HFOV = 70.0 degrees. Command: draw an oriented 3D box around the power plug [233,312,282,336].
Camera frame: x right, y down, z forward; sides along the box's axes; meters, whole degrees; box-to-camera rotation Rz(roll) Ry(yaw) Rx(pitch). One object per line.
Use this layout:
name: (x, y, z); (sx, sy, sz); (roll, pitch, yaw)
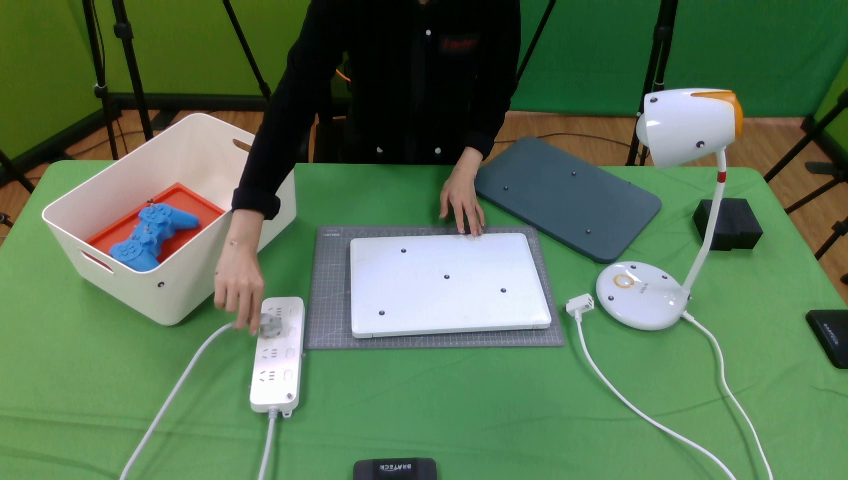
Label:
power plug: (-0.268, 0.135, 0.990); (0.072, 0.053, 0.035); (12, 50, 0)

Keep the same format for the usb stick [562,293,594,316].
usb stick: (0.275, 0.118, 1.088); (0.021, 0.059, 0.027); (39, 44, -28)

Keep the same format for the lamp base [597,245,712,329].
lamp base: (0.418, 0.051, 1.071); (0.179, 0.181, 0.160); (22, 49, 13)

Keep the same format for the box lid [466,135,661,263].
box lid: (0.306, -0.102, 1.327); (0.370, 0.015, 0.263); (32, 52, 25)

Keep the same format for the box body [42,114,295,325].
box body: (-0.437, -0.046, 1.110); (0.253, 0.161, 0.363); (24, 49, 19)

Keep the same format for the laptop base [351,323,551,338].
laptop base: (0.040, 0.080, 1.125); (0.355, 0.023, 0.234); (-2, 43, -6)

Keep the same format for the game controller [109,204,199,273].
game controller: (-0.467, -0.005, 1.044); (0.097, 0.052, 0.154); (8, 45, 10)

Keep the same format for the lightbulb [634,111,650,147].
lightbulb: (0.348, -0.163, 0.852); (0.059, 0.060, 0.107); (-36, 19, -32)

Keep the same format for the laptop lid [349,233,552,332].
laptop lid: (0.040, 0.070, 1.119); (0.357, 0.013, 0.240); (-1, 44, -5)

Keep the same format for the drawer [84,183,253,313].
drawer: (-0.457, 0.009, 1.100); (0.194, 0.073, 0.211); (29, 50, 21)

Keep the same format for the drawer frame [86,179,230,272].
drawer frame: (-0.453, 0.010, 1.100); (0.201, 0.083, 0.213); (28, 55, 22)

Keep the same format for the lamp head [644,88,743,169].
lamp head: (0.380, -0.161, 0.851); (0.122, 0.113, 0.112); (-4, 42, 25)

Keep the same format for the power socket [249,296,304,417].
power socket: (-0.239, 0.182, 0.996); (0.072, 0.033, 0.225); (-2, 47, -5)
